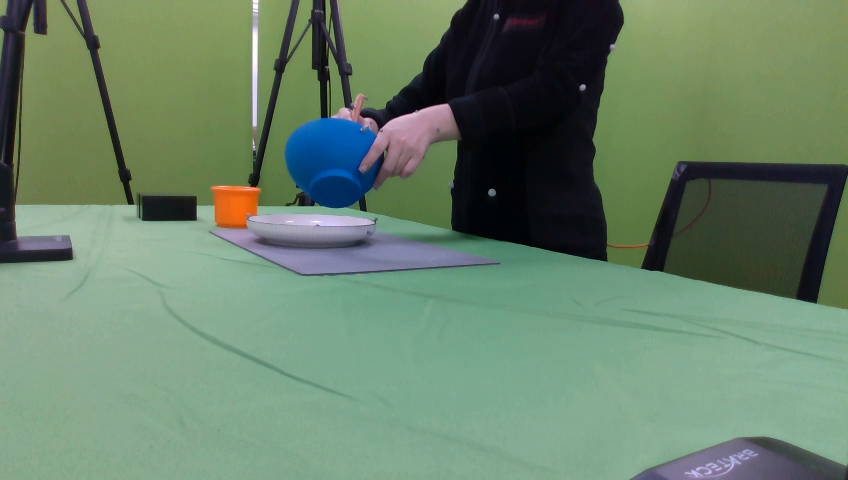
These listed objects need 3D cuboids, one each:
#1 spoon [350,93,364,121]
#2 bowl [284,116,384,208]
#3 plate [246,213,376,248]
[{"bbox_3d":[-0.122,-0.161,0.965,0.041,0.193,0.021,8,-32,2],"label":"spoon"},{"bbox_3d":[-0.132,-0.100,0.891,0.151,0.076,0.151,-4,-36,-3],"label":"bowl"},{"bbox_3d":[-0.185,-0.017,0.994,0.209,0.038,0.209,3,8,0],"label":"plate"}]
